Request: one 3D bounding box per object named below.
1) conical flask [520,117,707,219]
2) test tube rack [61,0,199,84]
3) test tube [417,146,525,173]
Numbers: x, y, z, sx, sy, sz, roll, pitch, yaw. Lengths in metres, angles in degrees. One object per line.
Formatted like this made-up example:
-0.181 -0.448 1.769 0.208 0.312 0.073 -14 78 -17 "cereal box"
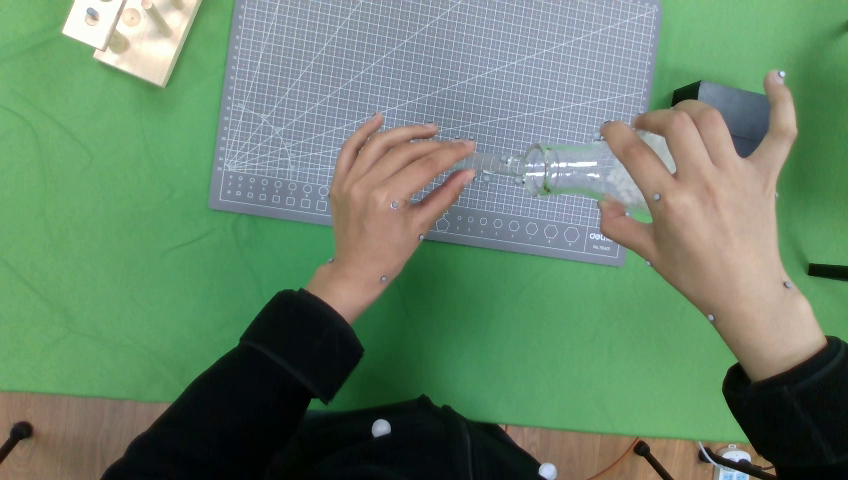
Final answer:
0.131 -0.052 0.431 0.122 0.075 0.075 -1 92 -19 "conical flask"
-0.230 -0.273 0.543 0.067 0.085 0.242 22 88 -11 "test tube rack"
0.032 -0.067 0.491 0.017 0.149 0.017 -6 102 -27 "test tube"
